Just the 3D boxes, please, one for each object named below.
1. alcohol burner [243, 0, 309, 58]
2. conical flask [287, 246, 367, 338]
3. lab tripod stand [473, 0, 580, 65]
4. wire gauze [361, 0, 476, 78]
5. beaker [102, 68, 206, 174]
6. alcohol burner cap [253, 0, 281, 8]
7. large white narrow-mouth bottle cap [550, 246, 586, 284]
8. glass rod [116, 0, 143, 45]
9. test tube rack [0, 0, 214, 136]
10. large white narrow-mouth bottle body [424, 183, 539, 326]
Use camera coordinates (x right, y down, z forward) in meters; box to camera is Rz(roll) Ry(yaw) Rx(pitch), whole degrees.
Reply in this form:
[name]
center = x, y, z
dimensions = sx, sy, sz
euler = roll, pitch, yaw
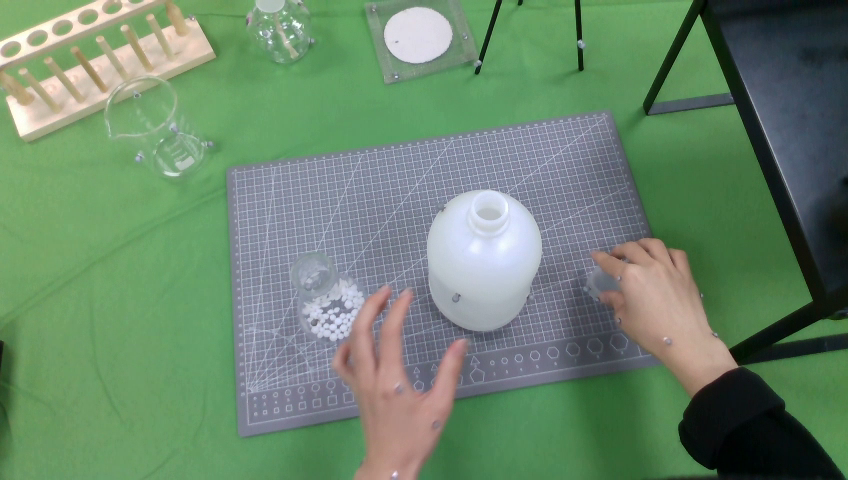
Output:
[alcohol burner]
center = -0.176, -0.272, 0.707
dimensions = 0.078, 0.120, 0.077
euler = 0, 66, 1
[conical flask]
center = -0.097, 0.044, 0.572
dimensions = 0.075, 0.123, 0.075
euler = 0, 68, 1
[lab tripod stand]
center = 0.124, -0.272, 0.691
dimensions = 0.148, 0.132, 0.147
euler = 0, 67, 0
[wire gauze]
center = -0.007, -0.267, 0.759
dimensions = 0.121, 0.011, 0.124
euler = -13, 68, -5
[beaker]
center = -0.289, -0.122, 0.657
dimensions = 0.073, 0.101, 0.084
euler = 36, 73, 15
[alcohol burner cap]
center = -0.177, -0.287, 0.674
dimensions = 0.034, 0.048, 0.033
euler = 3, 66, -7
[large white narrow-mouth bottle cap]
center = 0.150, 0.027, 0.632
dimensions = 0.038, 0.024, 0.037
euler = -1, 68, 3
[glass rod]
center = -0.343, -0.284, 0.658
dimensions = 0.008, 0.201, 0.008
euler = 1, 65, -3
[test tube rack]
center = -0.383, -0.220, 0.705
dimensions = 0.242, 0.086, 0.066
euler = -28, 70, -10
[large white narrow-mouth bottle body]
center = 0.051, 0.007, 0.546
dimensions = 0.102, 0.196, 0.101
euler = -1, 67, 2
